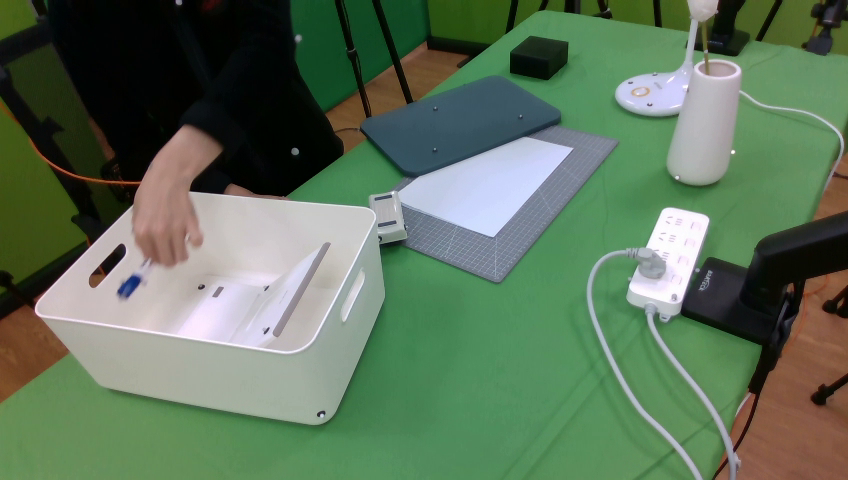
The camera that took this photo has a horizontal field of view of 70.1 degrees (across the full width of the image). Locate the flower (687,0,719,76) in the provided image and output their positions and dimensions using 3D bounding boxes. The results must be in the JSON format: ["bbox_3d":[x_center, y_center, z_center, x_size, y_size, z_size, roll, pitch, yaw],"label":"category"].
[{"bbox_3d":[0.436,-0.242,0.934,0.038,0.364,0.043,-23,49,9],"label":"flower"}]

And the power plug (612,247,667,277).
[{"bbox_3d":[0.306,0.031,0.852,0.072,0.053,0.035,21,48,38],"label":"power plug"}]

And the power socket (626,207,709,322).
[{"bbox_3d":[0.360,0.026,0.886,0.072,0.033,0.227,17,46,27],"label":"power socket"}]

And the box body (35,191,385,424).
[{"bbox_3d":[-0.254,0.082,0.807,0.363,0.161,0.253,5,42,14],"label":"box body"}]

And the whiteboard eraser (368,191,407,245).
[{"bbox_3d":[-0.061,-0.035,1.005,0.056,0.042,0.112,-9,40,-4],"label":"whiteboard eraser"}]

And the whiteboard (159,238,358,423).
[{"bbox_3d":[-0.242,0.093,0.809,0.304,0.144,0.216,5,45,13],"label":"whiteboard"}]

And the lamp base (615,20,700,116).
[{"bbox_3d":[0.484,-0.364,1.211,0.180,0.181,0.159,-15,41,-14],"label":"lamp base"}]

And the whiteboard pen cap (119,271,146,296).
[{"bbox_3d":[-0.354,0.051,0.738,0.018,0.018,0.033,5,38,14],"label":"whiteboard pen cap"}]

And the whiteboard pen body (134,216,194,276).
[{"bbox_3d":[-0.340,0.014,0.782,0.017,0.017,0.140,5,39,14],"label":"whiteboard pen body"}]

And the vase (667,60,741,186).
[{"bbox_3d":[0.463,-0.189,0.994,0.098,0.201,0.097,-4,40,4],"label":"vase"}]

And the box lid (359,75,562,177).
[{"bbox_3d":[0.075,-0.249,1.267,0.373,0.015,0.261,-23,42,-18],"label":"box lid"}]
